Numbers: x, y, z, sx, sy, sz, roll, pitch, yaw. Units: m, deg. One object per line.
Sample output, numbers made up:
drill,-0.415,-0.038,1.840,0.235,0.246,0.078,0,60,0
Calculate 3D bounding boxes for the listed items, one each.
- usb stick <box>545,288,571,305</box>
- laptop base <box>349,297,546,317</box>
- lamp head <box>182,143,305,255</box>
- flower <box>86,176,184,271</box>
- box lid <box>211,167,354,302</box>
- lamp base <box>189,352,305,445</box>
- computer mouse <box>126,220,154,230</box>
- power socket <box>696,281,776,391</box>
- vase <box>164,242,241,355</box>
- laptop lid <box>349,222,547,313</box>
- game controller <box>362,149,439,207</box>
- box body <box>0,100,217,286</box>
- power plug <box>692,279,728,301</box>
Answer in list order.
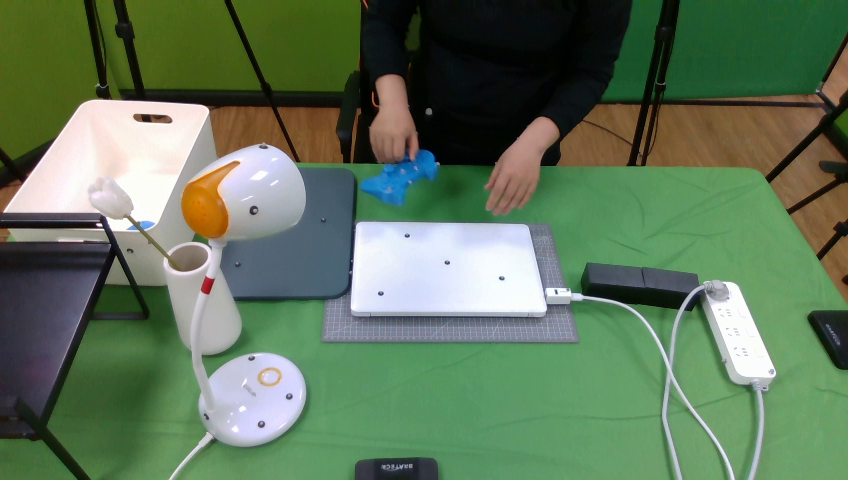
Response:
usb stick,0.236,0.102,1.101,0.059,0.027,0.021,-2,46,1
laptop base,0.041,0.055,1.149,0.355,0.023,0.234,1,43,-4
lamp head,-0.216,-0.044,0.697,0.112,0.113,0.123,23,31,17
flower,-0.365,0.038,0.894,0.038,0.364,0.044,-4,53,15
box lid,-0.276,-0.024,1.205,0.263,0.015,0.369,0,46,-4
lamp base,-0.268,0.196,0.876,0.160,0.181,0.179,26,52,20
computer mouse,-0.537,0.008,1.127,0.062,0.041,0.117,32,56,20
power socket,0.550,0.160,1.078,0.072,0.033,0.225,2,46,-1
vase,-0.349,0.096,0.954,0.098,0.201,0.097,3,47,-3
laptop lid,0.041,0.046,1.143,0.357,0.013,0.240,2,43,-3
game controller,-0.042,-0.130,1.200,0.096,0.052,0.155,37,62,25
box body,-0.560,-0.092,1.145,0.254,0.161,0.361,3,46,-2
power plug,0.522,0.092,1.115,0.072,0.053,0.035,9,46,7
